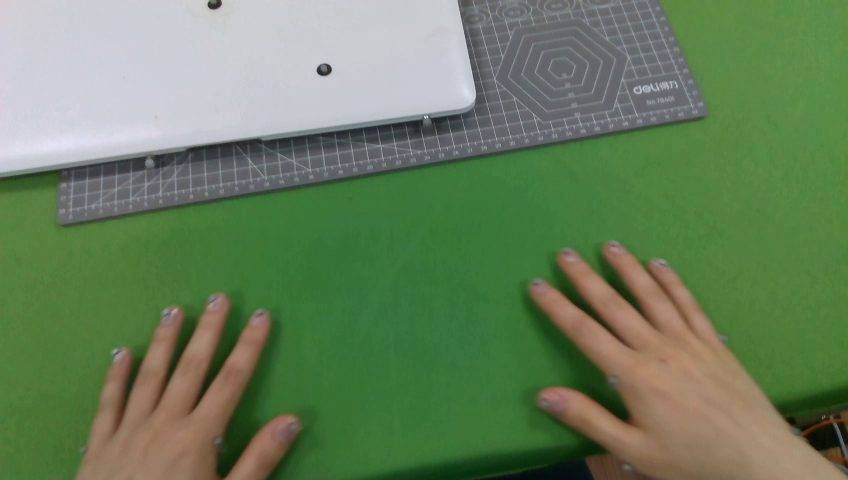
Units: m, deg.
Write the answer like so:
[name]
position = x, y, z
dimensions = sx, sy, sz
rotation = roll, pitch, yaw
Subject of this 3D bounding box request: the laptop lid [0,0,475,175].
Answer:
[laptop lid]
position = -0.153, -0.172, 0.450
dimensions = 0.357, 0.013, 0.240
rotation = -7, 69, -1

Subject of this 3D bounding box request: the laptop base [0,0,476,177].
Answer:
[laptop base]
position = -0.153, -0.169, 0.461
dimensions = 0.354, 0.023, 0.233
rotation = -8, 70, -2
